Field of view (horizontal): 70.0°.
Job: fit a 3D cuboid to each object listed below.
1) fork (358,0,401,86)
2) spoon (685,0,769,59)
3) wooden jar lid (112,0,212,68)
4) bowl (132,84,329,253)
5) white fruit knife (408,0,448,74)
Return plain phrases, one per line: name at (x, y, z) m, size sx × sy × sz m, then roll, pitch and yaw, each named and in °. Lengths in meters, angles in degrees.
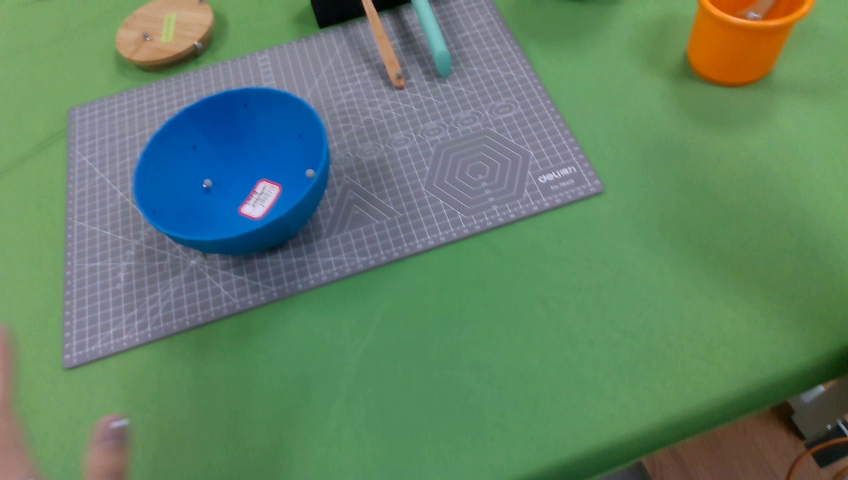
fork at (-0.064, -0.242, 0.600) m, size 0.028 × 0.019 × 0.206 m, roll -20°, pitch 77°, yaw -11°
spoon at (0.304, -0.219, 0.498) m, size 0.022 × 0.194 × 0.041 m, roll 14°, pitch 50°, yaw -36°
wooden jar lid at (-0.282, -0.226, 0.658) m, size 0.108 × 0.021 × 0.107 m, roll -2°, pitch 58°, yaw 4°
bowl at (-0.143, -0.044, 0.490) m, size 0.151 × 0.077 × 0.150 m, roll -3°, pitch 58°, yaw 6°
white fruit knife at (-0.016, -0.256, 0.604) m, size 0.016 × 0.027 × 0.206 m, roll -19°, pitch 72°, yaw -5°
